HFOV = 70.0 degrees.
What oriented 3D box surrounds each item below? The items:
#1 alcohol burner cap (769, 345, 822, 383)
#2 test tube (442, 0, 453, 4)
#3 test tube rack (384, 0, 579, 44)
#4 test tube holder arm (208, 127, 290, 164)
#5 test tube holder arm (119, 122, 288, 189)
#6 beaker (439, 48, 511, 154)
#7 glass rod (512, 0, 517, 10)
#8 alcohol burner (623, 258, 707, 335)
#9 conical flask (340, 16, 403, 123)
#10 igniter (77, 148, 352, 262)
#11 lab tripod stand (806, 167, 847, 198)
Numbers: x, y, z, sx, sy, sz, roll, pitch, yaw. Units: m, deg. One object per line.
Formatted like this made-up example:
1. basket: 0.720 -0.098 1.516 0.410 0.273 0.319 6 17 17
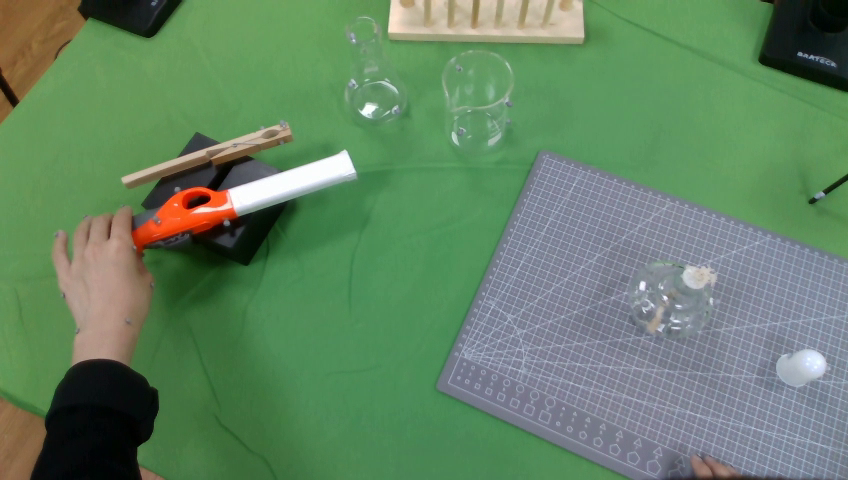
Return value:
1. alcohol burner cap: 0.357 0.116 0.578 0.034 0.048 0.033 0 68 1
2. test tube: 0.032 -0.335 0.699 0.017 0.151 0.017 1 61 -2
3. test tube rack: 0.072 -0.296 0.736 0.242 0.086 0.066 2 67 2
4. test tube holder arm: -0.187 -0.100 0.647 0.088 0.015 0.010 -19 68 -7
5. test tube holder arm: -0.232 -0.090 0.643 0.178 0.015 0.013 -20 68 -7
6. beaker: 0.052 -0.146 0.667 0.073 0.101 0.084 37 74 16
7. glass rod: 0.105 -0.343 0.683 0.008 0.201 0.008 -2 59 4
8. alcohol burner: 0.233 0.048 0.571 0.078 0.120 0.077 0 67 0
9. conical flask: -0.065 -0.193 0.677 0.075 0.123 0.075 -1 67 2
10. igniter: -0.209 -0.036 0.617 0.277 0.025 0.057 -20 68 -10
11. lab tripod stand: 0.491 -0.083 0.609 0.148 0.132 0.147 0 67 0
